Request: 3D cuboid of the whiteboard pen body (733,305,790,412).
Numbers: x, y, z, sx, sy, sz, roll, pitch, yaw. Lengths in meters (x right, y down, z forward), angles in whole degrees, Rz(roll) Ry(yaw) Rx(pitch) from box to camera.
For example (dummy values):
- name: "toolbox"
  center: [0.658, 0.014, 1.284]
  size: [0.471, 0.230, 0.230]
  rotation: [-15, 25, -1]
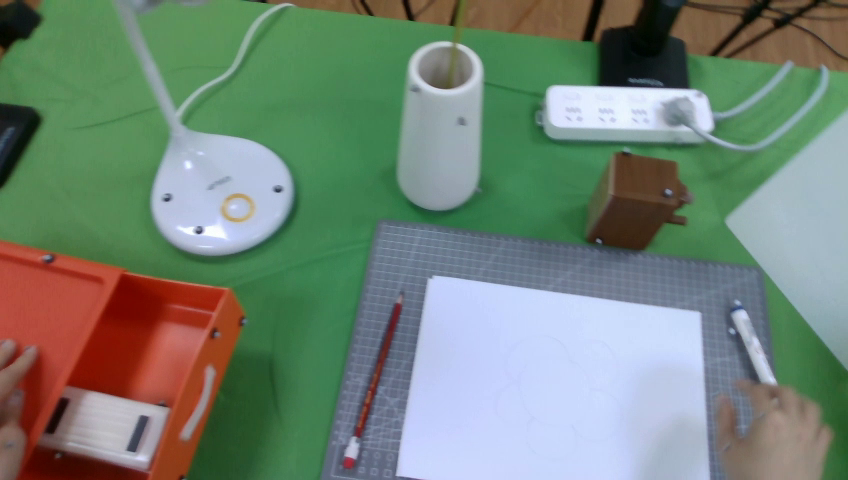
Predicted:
- name: "whiteboard pen body"
  center: [0.355, 0.133, 0.631]
  size: [0.017, 0.017, 0.139]
  rotation: [-7, 61, -5]

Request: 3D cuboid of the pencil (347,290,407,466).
- name: "pencil"
  center: [-0.045, 0.135, 0.626]
  size: [0.012, 0.012, 0.192]
  rotation: [14, 61, 7]

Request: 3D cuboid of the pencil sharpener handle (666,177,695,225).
- name: "pencil sharpener handle"
  center: [0.285, -0.039, 0.663]
  size: [0.030, 0.068, 0.035]
  rotation: [10, 60, 4]

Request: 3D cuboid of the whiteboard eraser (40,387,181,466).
- name: "whiteboard eraser"
  center: [-0.270, 0.164, 0.531]
  size: [0.112, 0.042, 0.055]
  rotation: [4, 53, 9]

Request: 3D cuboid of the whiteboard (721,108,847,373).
- name: "whiteboard"
  center: [0.510, -0.039, 0.606]
  size: [0.144, 0.307, 0.215]
  rotation: [-13, 60, -30]

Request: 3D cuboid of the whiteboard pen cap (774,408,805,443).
- name: "whiteboard pen cap"
  center: [0.362, 0.183, 0.602]
  size: [0.018, 0.018, 0.033]
  rotation: [-8, 61, -5]

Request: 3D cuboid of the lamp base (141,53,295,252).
- name: "lamp base"
  center: [-0.242, -0.101, 0.653]
  size: [0.178, 0.182, 0.160]
  rotation: [38, 67, 20]

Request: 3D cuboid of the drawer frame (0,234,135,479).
- name: "drawer frame"
  center: [-0.395, 0.099, 0.545]
  size: [0.213, 0.083, 0.200]
  rotation: [14, 63, 0]

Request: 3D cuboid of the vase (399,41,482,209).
- name: "vase"
  center: [0.018, -0.118, 0.660]
  size: [0.098, 0.201, 0.097]
  rotation: [0, 61, 0]

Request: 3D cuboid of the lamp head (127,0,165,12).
- name: "lamp head"
  center: [-0.189, -0.230, 0.395]
  size: [0.124, 0.112, 0.112]
  rotation: [48, 64, -20]

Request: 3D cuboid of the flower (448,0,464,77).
- name: "flower"
  center: [0.029, -0.173, 0.596]
  size: [0.038, 0.364, 0.043]
  rotation: [-3, 43, -11]

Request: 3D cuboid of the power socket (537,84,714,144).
- name: "power socket"
  center: [0.262, -0.164, 0.786]
  size: [0.227, 0.033, 0.071]
  rotation: [3, 62, -1]

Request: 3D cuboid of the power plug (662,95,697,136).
- name: "power plug"
  center: [0.313, -0.148, 0.752]
  size: [0.035, 0.053, 0.072]
  rotation: [11, 63, 5]

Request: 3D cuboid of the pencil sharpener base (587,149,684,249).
- name: "pencil sharpener base"
  center: [0.234, -0.042, 0.677]
  size: [0.076, 0.108, 0.061]
  rotation: [10, 61, 4]

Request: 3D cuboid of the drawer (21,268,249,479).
- name: "drawer"
  center: [-0.290, 0.119, 0.541]
  size: [0.211, 0.074, 0.193]
  rotation: [11, 62, 4]
